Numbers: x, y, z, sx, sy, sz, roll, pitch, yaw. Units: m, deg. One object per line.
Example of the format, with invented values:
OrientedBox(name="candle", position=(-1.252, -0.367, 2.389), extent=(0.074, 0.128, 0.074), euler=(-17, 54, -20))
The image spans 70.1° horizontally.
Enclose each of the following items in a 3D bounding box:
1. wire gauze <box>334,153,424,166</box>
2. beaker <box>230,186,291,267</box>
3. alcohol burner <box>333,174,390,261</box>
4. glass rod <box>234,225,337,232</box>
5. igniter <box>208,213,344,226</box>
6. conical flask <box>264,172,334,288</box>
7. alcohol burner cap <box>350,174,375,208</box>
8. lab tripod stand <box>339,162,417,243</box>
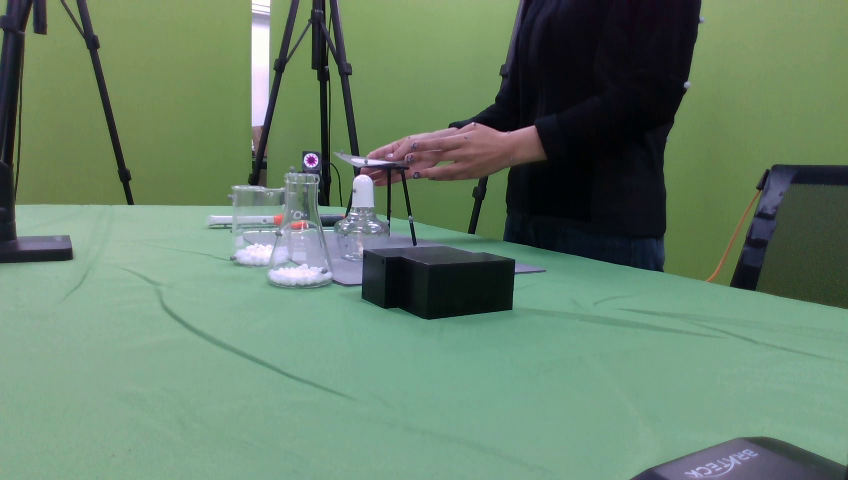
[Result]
OrientedBox(name="wire gauze", position=(-0.077, -0.135, 1.014), extent=(0.122, 0.011, 0.124), euler=(-3, 14, -28))
OrientedBox(name="beaker", position=(-0.209, -0.019, 0.778), extent=(0.074, 0.100, 0.084), euler=(3, 6, 4))
OrientedBox(name="alcohol burner", position=(-0.085, -0.031, 0.832), extent=(0.078, 0.119, 0.078), euler=(3, 6, 0))
OrientedBox(name="glass rod", position=(-0.256, -0.022, 1.136), extent=(0.201, 0.008, 0.008), euler=(-3, 9, -33))
OrientedBox(name="igniter", position=(-0.283, -0.041, 1.200), extent=(0.278, 0.025, 0.057), euler=(-2, -2, -34))
OrientedBox(name="conical flask", position=(-0.136, -0.013, 0.660), extent=(0.075, 0.122, 0.075), euler=(2, 7, 0))
OrientedBox(name="alcohol burner cap", position=(-0.085, -0.067, 0.829), extent=(0.034, 0.048, 0.034), euler=(0, 2, 0))
OrientedBox(name="lab tripod stand", position=(-0.067, -0.065, 1.027), extent=(0.148, 0.131, 0.148), euler=(4, 7, 0))
